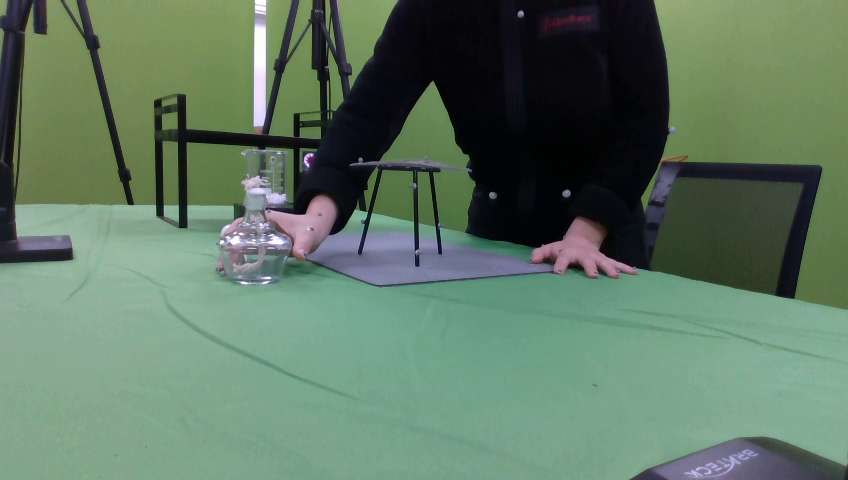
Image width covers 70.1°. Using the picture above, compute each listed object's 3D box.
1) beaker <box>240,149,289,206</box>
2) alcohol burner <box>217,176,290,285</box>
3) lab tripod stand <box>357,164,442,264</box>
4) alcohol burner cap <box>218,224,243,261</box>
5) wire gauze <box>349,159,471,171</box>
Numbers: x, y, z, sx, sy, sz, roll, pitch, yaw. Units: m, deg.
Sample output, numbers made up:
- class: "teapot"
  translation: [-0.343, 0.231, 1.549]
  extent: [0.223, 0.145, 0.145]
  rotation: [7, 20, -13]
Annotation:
- class: "beaker"
  translation: [-0.286, -0.112, 1.085]
  extent: [0.084, 0.100, 0.073]
  rotation: [-1, 8, -23]
- class: "alcohol burner"
  translation: [-0.187, -0.011, 0.667]
  extent: [0.078, 0.119, 0.078]
  rotation: [2, 10, 0]
- class: "lab tripod stand"
  translation: [-0.023, -0.041, 0.859]
  extent: [0.148, 0.131, 0.148]
  rotation: [2, 5, 0]
- class: "alcohol burner cap"
  translation: [-0.263, 0.002, 0.823]
  extent: [0.034, 0.048, 0.034]
  rotation: [5, 9, 0]
- class: "wire gauze"
  translation: [-0.019, -0.106, 0.846]
  extent: [0.121, 0.011, 0.126]
  rotation: [8, 8, 42]
